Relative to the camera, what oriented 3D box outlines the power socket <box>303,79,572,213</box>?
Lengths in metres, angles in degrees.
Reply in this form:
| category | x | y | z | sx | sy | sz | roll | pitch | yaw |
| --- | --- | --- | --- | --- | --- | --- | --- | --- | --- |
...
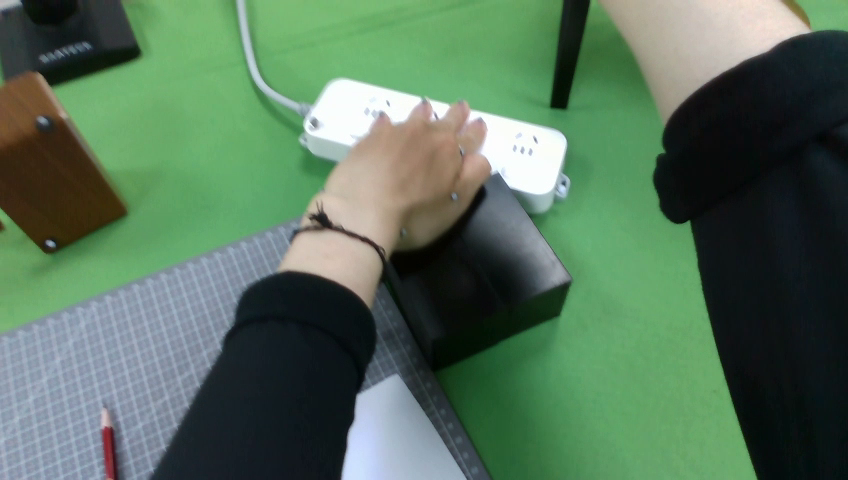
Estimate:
| category | x | y | z | sx | sy | sz | roll | pitch | yaw |
| --- | --- | --- | --- | --- | --- | --- | --- | --- | --- |
| power socket | 0.010 | -0.080 | 0.497 | 0.226 | 0.033 | 0.072 | 16 | 57 | 12 |

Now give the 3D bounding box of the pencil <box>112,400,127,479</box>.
| category | x | y | z | sx | sy | sz | roll | pitch | yaw |
| --- | --- | --- | --- | --- | --- | --- | --- | --- | --- |
| pencil | -0.169 | 0.176 | 0.339 | 0.012 | 0.012 | 0.192 | -16 | 54 | -10 |

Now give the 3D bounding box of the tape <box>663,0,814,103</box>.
| category | x | y | z | sx | sy | sz | roll | pitch | yaw |
| --- | --- | --- | --- | --- | --- | --- | --- | --- | --- |
| tape | 0.284 | -0.183 | 0.551 | 0.117 | 0.053 | 0.116 | 0 | 57 | 1 |

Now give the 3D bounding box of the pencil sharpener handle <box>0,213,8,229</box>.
| category | x | y | z | sx | sy | sz | roll | pitch | yaw |
| --- | --- | --- | --- | --- | --- | --- | --- | --- | --- |
| pencil sharpener handle | -0.314 | -0.030 | 0.407 | 0.030 | 0.068 | 0.035 | -34 | 40 | -19 |

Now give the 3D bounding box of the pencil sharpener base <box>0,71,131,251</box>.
| category | x | y | z | sx | sy | sz | roll | pitch | yaw |
| --- | --- | --- | --- | --- | --- | --- | --- | --- | --- |
| pencil sharpener base | -0.277 | -0.053 | 0.438 | 0.076 | 0.108 | 0.061 | -34 | 62 | -19 |
